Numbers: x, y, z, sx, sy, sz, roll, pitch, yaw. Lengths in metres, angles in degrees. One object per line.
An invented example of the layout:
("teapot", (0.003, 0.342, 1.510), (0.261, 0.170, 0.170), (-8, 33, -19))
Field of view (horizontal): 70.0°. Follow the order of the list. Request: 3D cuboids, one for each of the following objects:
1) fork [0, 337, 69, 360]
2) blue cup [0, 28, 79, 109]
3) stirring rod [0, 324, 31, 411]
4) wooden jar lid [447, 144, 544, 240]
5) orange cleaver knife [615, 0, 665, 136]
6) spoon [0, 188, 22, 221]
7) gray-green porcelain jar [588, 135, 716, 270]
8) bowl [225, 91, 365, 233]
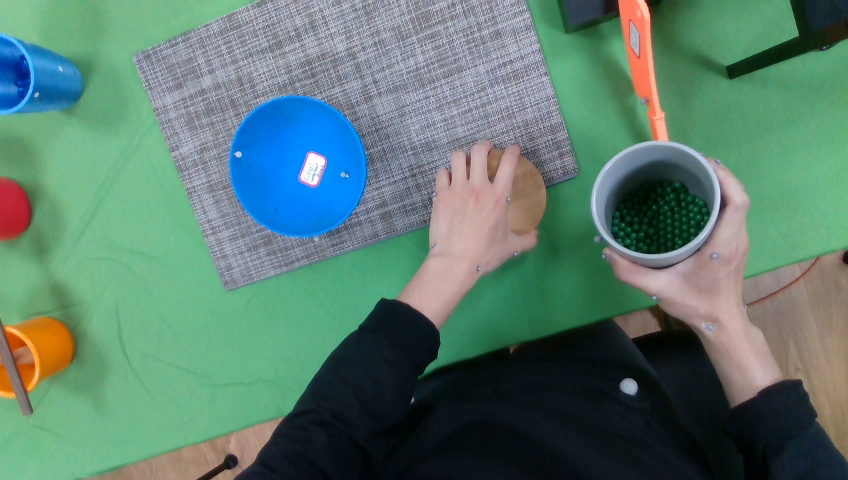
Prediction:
("fork", (-0.549, 0.145, 0.731), (0.208, 0.018, 0.028), (-6, 111, -36))
("blue cup", (-0.451, -0.190, 0.687), (0.092, 0.100, 0.093), (1, 100, 5))
("stirring rod", (-0.503, 0.121, 0.720), (0.014, 0.006, 0.176), (-14, 98, 6))
("wooden jar lid", (0.080, -0.054, 0.685), (0.108, 0.020, 0.108), (1, 102, 7))
("orange cleaver knife", (0.223, -0.168, 0.621), (0.012, 0.076, 0.213), (-22, 126, 6))
("spoon", (-0.586, -0.030, 0.710), (0.194, 0.021, 0.042), (-14, 98, -35))
("gray-green porcelain jar", (0.219, -0.028, 0.575), (0.105, 0.127, 0.105), (-5, 78, 24))
("bowl", (-0.133, -0.087, 0.676), (0.151, 0.076, 0.152), (1, 100, 7))
